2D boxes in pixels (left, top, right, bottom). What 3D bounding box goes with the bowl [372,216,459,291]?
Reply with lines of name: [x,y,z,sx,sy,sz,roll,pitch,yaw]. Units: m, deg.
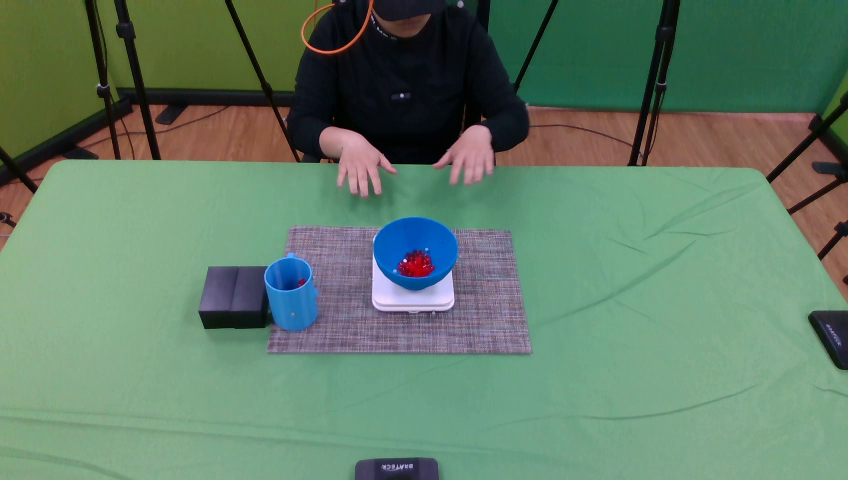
bowl: [-0.015,0.036,1.075,0.151,0.077,0.150,2,46,-1]

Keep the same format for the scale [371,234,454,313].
scale: [-0.023,0.050,1.134,0.149,0.032,0.199,1,46,-4]

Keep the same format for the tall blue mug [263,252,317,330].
tall blue mug: [-0.233,0.081,1.036,0.078,0.108,0.106,-25,53,-24]
